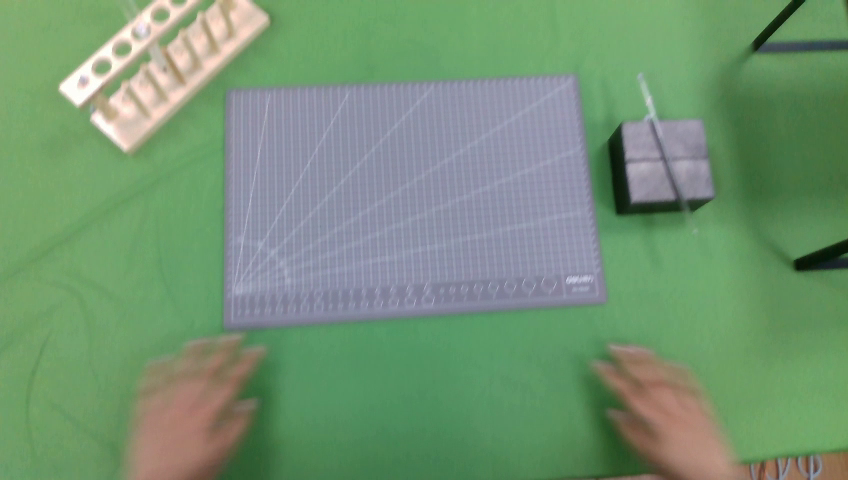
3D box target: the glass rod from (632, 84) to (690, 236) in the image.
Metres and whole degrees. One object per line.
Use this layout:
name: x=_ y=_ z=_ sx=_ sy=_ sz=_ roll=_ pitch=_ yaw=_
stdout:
glass rod: x=0.282 y=-0.098 z=0.722 sx=0.008 sy=0.008 sz=0.198 roll=-13 pitch=77 yaw=-6

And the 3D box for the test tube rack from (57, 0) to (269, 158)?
test tube rack: x=-0.305 y=-0.219 z=0.732 sx=0.066 sy=0.085 sz=0.242 roll=40 pitch=77 yaw=8

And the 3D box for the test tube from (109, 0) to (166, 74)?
test tube: x=-0.325 y=-0.238 z=0.684 sx=0.017 sy=0.151 sz=0.017 roll=0 pitch=69 yaw=-1
